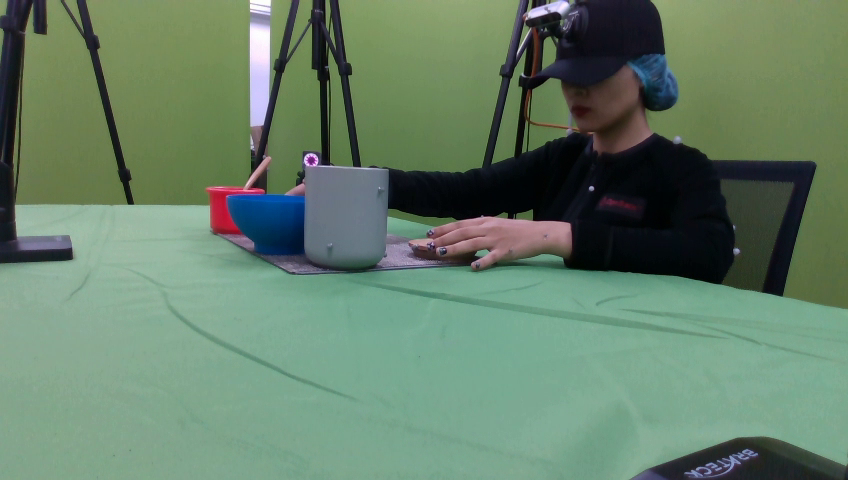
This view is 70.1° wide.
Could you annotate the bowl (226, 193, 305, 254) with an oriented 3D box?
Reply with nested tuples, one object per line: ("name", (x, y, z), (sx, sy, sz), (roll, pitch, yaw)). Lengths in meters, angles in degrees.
("bowl", (-0.205, -0.024, 0.866), (0.151, 0.077, 0.151), (3, 7, 0))

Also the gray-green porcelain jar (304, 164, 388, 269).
("gray-green porcelain jar", (-0.099, -0.031, 0.770), (0.106, 0.126, 0.106), (2, 7, 0))

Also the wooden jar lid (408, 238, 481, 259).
("wooden jar lid", (0.031, 0.012, 0.896), (0.108, 0.020, 0.108), (3, 8, 0))

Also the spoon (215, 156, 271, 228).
("spoon", (-0.319, -0.090, 1.091), (0.041, 0.022, 0.193), (7, 52, 17))
